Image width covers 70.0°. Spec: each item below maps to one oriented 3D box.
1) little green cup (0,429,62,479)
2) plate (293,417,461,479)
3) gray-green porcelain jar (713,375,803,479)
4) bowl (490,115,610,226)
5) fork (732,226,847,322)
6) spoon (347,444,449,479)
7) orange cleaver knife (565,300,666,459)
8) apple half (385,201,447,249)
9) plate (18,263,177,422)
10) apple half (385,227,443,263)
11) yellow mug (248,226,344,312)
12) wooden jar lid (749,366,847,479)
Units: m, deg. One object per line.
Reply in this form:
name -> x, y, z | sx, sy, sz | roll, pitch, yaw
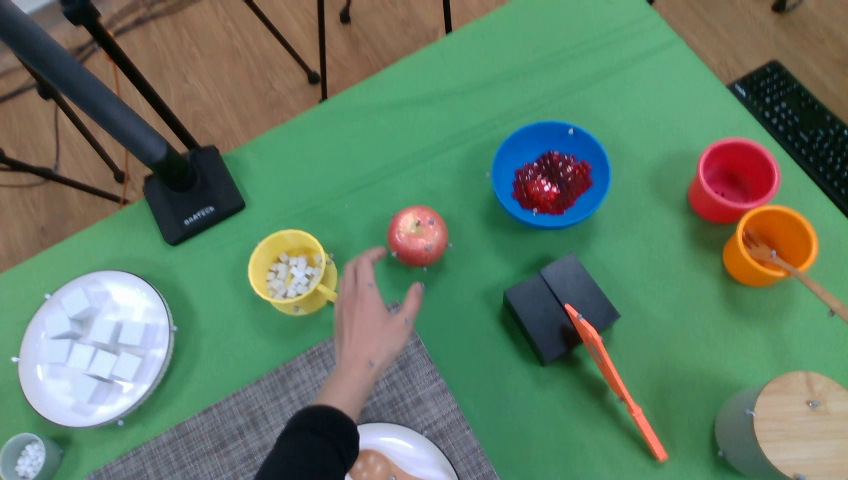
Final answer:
little green cup -> -0.490, 0.270, 0.759 | 0.061, 0.039, 0.061 | -1, 71, 3
plate -> -0.054, 0.312, 0.698 | 0.209, 0.038, 0.207 | -2, 71, 5
gray-green porcelain jar -> 0.380, 0.201, 0.651 | 0.106, 0.127, 0.105 | -2, 70, 5
bowl -> 0.161, -0.079, 0.797 | 0.151, 0.077, 0.150 | -2, 71, 5
fork -> 0.419, 0.034, 0.693 | 0.028, 0.019, 0.205 | -7, 26, -4
spoon -> 0.002, 0.274, 0.692 | 0.193, 0.022, 0.041 | 8, 65, 21
orange cleaver knife -> 0.219, 0.160, 0.700 | 0.012, 0.077, 0.212 | -32, 103, -2
apple half -> -0.006, -0.021, 0.796 | 0.080, 0.075, 0.053 | 9, 69, 13
plate -> -0.424, 0.134, 0.801 | 0.207, 0.039, 0.206 | -2, 71, 5
apple half -> -0.015, 0.015, 0.783 | 0.081, 0.082, 0.032 | 10, 68, 9
yellow mug -> -0.159, 0.046, 0.791 | 0.130, 0.064, 0.099 | 29, 75, 14
wooden jar lid -> 0.373, 0.179, 0.593 | 0.108, 0.021, 0.107 | -1, 73, 4
